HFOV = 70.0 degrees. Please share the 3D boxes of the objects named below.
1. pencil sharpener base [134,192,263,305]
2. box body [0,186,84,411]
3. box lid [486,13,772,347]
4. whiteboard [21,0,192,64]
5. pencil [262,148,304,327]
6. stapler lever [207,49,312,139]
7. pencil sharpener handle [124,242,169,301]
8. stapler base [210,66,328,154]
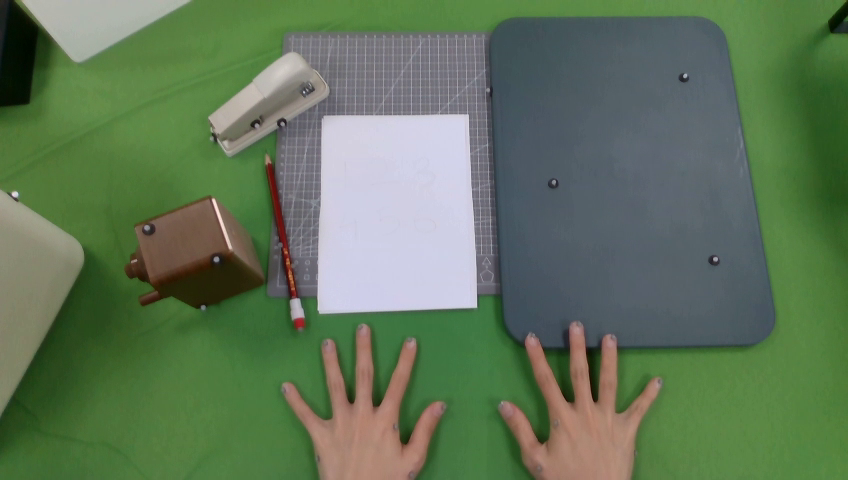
[{"bbox_3d":[-0.201,0.012,0.547,0.077,0.107,0.061,-22,75,-6],"label":"pencil sharpener base"},{"bbox_3d":[-0.525,0.031,0.511,0.363,0.161,0.253,20,75,5],"label":"box body"},{"bbox_3d":[0.202,-0.077,0.626,0.263,0.015,0.369,-1,74,-2],"label":"box lid"},{"bbox_3d":[-0.360,-0.378,0.589,0.217,0.308,0.142,-34,57,-9],"label":"whiteboard"},{"bbox_3d":[-0.143,-0.007,0.602,0.012,0.012,0.193,-14,74,-4],"label":"pencil"},{"bbox_3d":[-0.167,-0.149,0.610,0.118,0.040,0.026,-35,72,-7],"label":"stapler lever"},{"bbox_3d":[-0.247,0.032,0.528,0.030,0.068,0.035,-22,58,-6],"label":"pencil sharpener handle"},{"bbox_3d":[-0.164,-0.143,0.634,0.130,0.024,0.041,-35,73,-6],"label":"stapler base"}]
